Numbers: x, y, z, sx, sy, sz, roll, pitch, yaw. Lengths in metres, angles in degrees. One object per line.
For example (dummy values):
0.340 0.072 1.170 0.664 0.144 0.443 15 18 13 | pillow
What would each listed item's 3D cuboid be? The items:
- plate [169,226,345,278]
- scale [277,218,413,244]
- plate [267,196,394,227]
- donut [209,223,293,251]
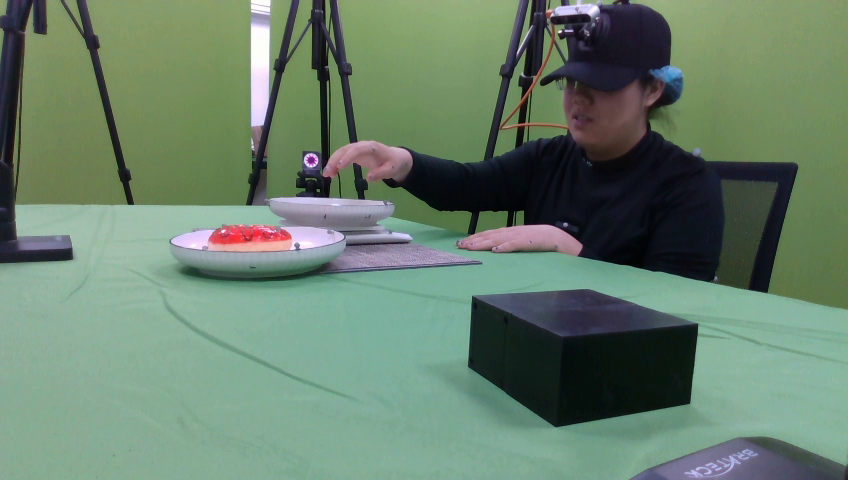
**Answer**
-0.202 0.014 0.748 0.209 0.038 0.209 1 9 0 | plate
-0.134 -0.015 1.015 0.202 0.031 0.148 -1 9 -33 | scale
-0.152 -0.047 0.998 0.208 0.039 0.207 2 6 0 | plate
-0.210 0.004 0.738 0.099 0.048 0.099 0 8 0 | donut
